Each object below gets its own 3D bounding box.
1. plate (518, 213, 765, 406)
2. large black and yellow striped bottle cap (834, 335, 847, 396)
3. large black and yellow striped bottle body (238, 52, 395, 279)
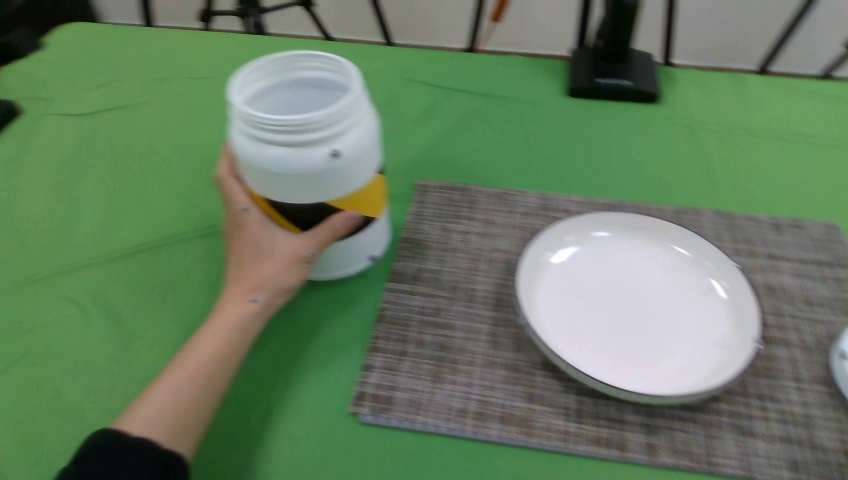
[{"bbox_3d":[0.187,0.059,0.539,0.208,0.039,0.205,0,45,0],"label":"plate"},{"bbox_3d":[0.400,0.116,0.494,0.115,0.019,0.114,2,47,-2],"label":"large black and yellow striped bottle cap"},{"bbox_3d":[-0.097,-0.067,0.568,0.131,0.185,0.129,0,45,1],"label":"large black and yellow striped bottle body"}]
